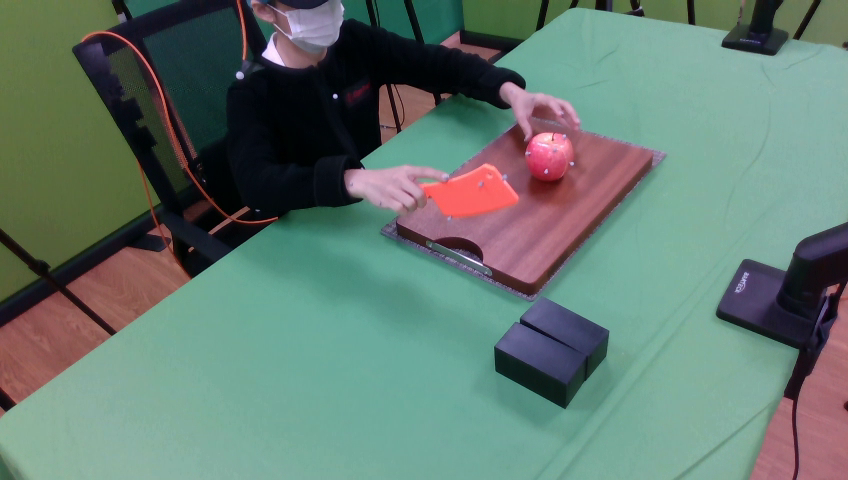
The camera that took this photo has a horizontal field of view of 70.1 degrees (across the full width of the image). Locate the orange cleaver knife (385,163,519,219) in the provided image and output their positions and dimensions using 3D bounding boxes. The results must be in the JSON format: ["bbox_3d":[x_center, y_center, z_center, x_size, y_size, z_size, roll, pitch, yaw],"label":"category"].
[{"bbox_3d":[0.035,-0.062,0.853,0.210,0.077,0.012,-6,35,39],"label":"orange cleaver knife"}]

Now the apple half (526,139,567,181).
[{"bbox_3d":[0.197,-0.126,1.009,0.080,0.081,0.033,24,46,32],"label":"apple half"}]

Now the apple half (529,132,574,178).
[{"bbox_3d":[0.222,-0.147,1.031,0.080,0.075,0.053,20,44,35],"label":"apple half"}]
